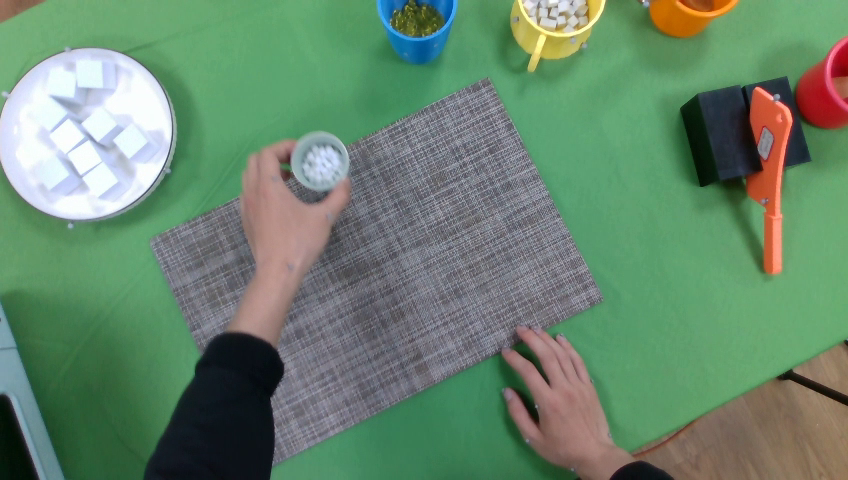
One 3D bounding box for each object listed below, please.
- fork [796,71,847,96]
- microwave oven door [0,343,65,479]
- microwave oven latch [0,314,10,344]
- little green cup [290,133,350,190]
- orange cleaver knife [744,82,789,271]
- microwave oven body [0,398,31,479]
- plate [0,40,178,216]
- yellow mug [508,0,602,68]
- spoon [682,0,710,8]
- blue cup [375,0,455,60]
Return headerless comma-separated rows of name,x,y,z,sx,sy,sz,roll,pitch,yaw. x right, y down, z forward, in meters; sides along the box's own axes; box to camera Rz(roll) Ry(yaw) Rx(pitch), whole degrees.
fork,0.523,-0.183,0.656,0.206,0.019,0.028,-1,82,42
microwave oven door,-0.415,0.274,0.563,0.039,0.244,0.355,-23,85,-1
microwave oven latch,-0.498,0.082,0.681,0.030,0.029,0.079,-22,86,-2
little green cup,-0.110,-0.083,0.659,0.061,0.038,0.061,0,90,5
orange cleaver knife,0.380,-0.068,0.680,0.012,0.076,0.213,-11,115,2
microwave oven body,-0.567,0.293,0.568,0.326,0.260,0.440,-23,86,-2
plate,-0.390,-0.129,0.715,0.208,0.039,0.207,0,85,1
yellow mug,0.145,-0.262,0.706,0.100,0.064,0.130,22,87,3
spoon,0.273,-0.273,0.664,0.021,0.194,0.041,-34,82,43
blue cup,-0.010,-0.252,0.689,0.092,0.100,0.092,0,86,0
